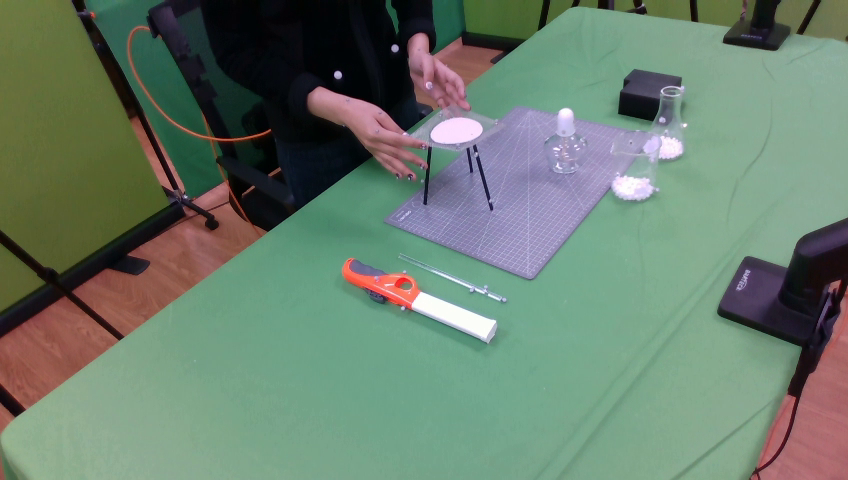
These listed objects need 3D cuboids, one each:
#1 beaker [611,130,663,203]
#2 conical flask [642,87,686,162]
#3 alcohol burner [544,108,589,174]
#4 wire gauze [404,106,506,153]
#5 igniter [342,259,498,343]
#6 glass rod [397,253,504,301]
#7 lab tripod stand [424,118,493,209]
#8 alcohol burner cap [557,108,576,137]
[{"bbox_3d":[0.346,-0.118,0.998,0.084,0.101,0.073,-17,40,-7],"label":"beaker"},{"bbox_3d":[0.429,-0.206,1.067,0.075,0.122,0.075,-6,40,6],"label":"conical flask"},{"bbox_3d":[0.252,-0.178,1.071,0.078,0.120,0.077,-7,40,6],"label":"alcohol burner"},{"bbox_3d":[0.050,-0.180,0.991,0.120,0.011,0.125,25,49,36],"label":"wire gauze"},{"bbox_3d":[-0.017,0.084,0.883,0.274,0.025,0.057,20,59,31],"label":"igniter"},{"bbox_3d":[0.036,0.054,0.922,0.198,0.008,0.008,22,50,30],"label":"glass rod"},{"bbox_3d":[0.061,-0.133,1.039,0.148,0.132,0.147,-6,39,6],"label":"lab tripod stand"},{"bbox_3d":[0.246,-0.205,1.047,0.034,0.048,0.033,-8,44,8],"label":"alcohol burner cap"}]
